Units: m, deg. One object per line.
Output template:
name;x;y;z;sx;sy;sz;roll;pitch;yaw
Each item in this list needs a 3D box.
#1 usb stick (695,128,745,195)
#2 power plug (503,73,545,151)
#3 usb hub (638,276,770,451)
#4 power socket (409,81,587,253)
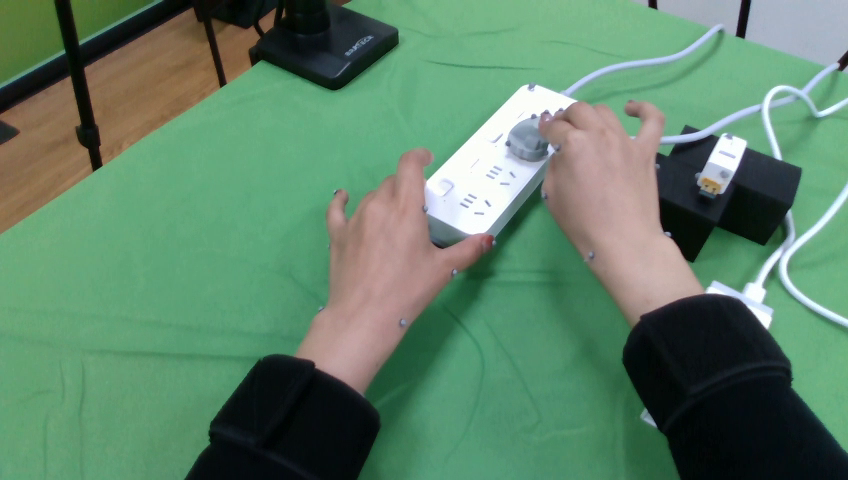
usb stick;0.230;-0.060;0.474;0.021;0.027;0.059;28;57;17
power plug;0.091;-0.105;0.538;0.035;0.053;0.072;23;47;-4
usb hub;0.197;0.081;0.422;0.049;0.025;0.125;29;54;20
power socket;0.071;-0.072;0.539;0.072;0.033;0.226;30;55;19
